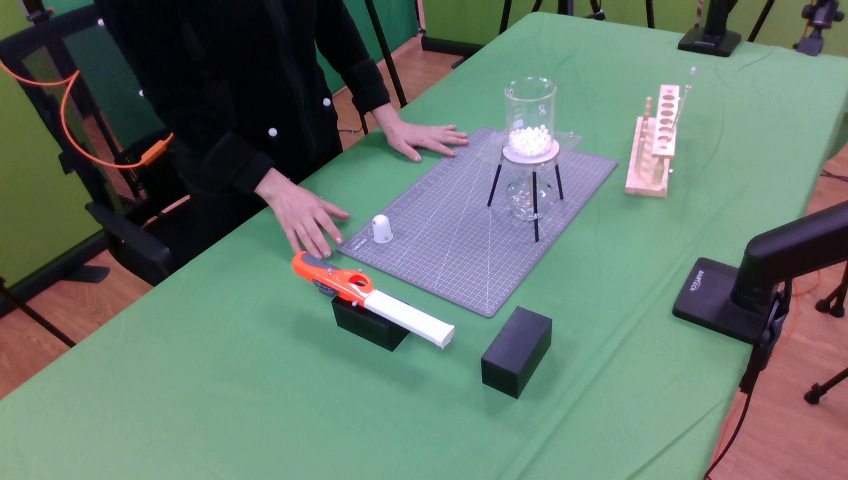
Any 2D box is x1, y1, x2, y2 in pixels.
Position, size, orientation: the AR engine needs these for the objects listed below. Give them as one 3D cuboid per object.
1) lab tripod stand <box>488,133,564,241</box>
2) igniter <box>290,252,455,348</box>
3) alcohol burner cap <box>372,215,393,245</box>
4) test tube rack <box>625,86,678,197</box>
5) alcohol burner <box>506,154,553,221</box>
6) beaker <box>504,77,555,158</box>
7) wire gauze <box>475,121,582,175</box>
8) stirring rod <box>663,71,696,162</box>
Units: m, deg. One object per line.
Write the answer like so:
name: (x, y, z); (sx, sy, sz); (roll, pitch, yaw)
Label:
lab tripod stand: (0.168, -0.093, 0.972); (0.148, 0.132, 0.147); (-5, 41, 5)
igniter: (-0.081, 0.076, 0.822); (0.274, 0.025, 0.057); (23, 45, 27)
alcohol burner cap: (-0.070, -0.019, 0.990); (0.034, 0.048, 0.033); (-4, 41, 4)
test tube rack: (0.411, -0.184, 1.088); (0.066, 0.085, 0.242); (9, 43, 18)
alcohol burner: (0.171, -0.091, 0.984); (0.078, 0.119, 0.077); (-5, 42, 5)
beaker: (0.160, -0.181, 0.900); (0.084, 0.101, 0.073); (-33, 46, -27)
wire gauze: (0.161, -0.142, 0.929); (0.120, 0.011, 0.125); (19, 49, 32)
stirring rod: (0.410, -0.195, 0.981); (0.014, 0.177, 0.006); (12, 50, 14)
